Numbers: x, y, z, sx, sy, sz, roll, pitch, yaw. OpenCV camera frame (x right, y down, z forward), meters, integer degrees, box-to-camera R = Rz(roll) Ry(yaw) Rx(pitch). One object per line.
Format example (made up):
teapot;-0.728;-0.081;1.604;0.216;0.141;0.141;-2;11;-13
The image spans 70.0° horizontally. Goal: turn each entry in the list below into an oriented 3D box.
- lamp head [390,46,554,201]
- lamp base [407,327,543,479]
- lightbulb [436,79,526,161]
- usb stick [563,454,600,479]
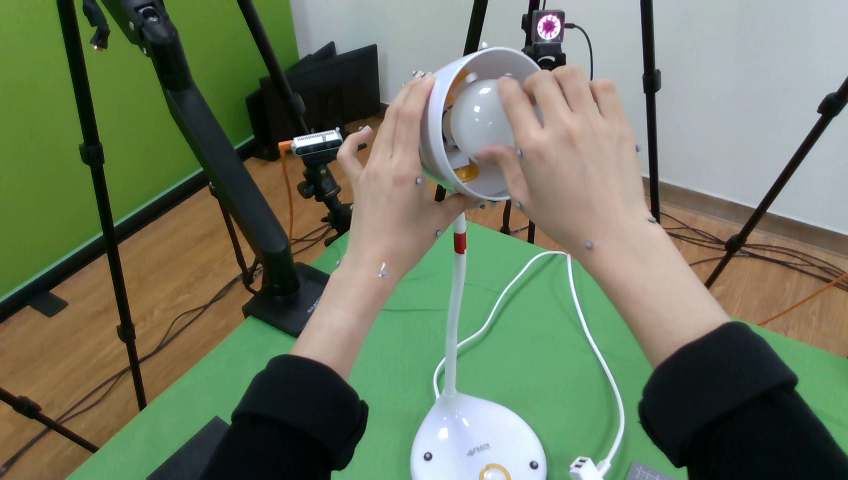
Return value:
lamp head;0.027;-0.088;0.494;0.112;0.113;0.122;-27;15;-26
lamp base;0.050;0.194;0.675;0.161;0.182;0.177;-26;43;-25
lightbulb;0.035;-0.090;0.468;0.059;0.060;0.107;-22;15;-22
usb stick;0.182;0.272;0.681;0.027;0.059;0.021;-30;5;-35
